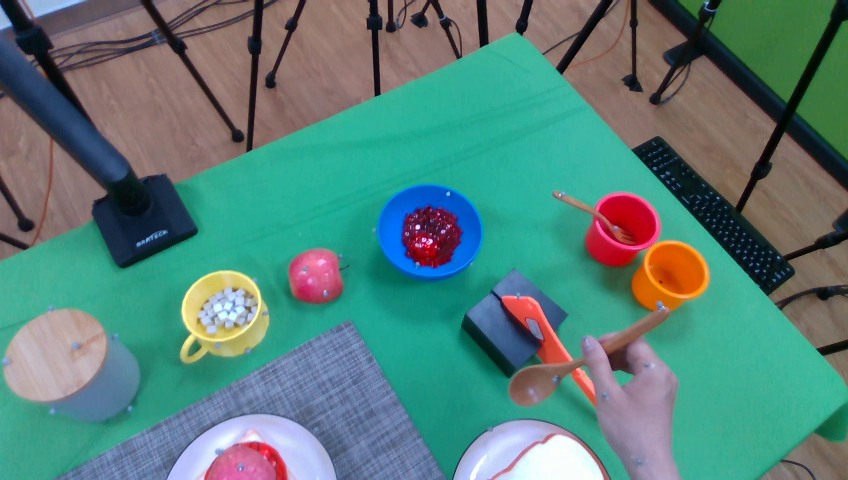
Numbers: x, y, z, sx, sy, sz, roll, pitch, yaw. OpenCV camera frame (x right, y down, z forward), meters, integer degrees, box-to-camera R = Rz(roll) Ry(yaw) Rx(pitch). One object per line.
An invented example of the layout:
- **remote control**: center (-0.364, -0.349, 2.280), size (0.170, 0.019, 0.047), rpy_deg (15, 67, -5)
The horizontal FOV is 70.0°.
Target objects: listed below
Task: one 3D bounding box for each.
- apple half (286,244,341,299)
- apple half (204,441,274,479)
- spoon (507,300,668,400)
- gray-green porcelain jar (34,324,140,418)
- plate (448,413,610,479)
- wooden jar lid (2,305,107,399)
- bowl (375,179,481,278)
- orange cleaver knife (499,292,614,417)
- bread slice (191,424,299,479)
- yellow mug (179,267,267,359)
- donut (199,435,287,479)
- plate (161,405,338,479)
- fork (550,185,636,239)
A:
- **apple half**: center (-0.158, 0.040, 0.856), size (0.075, 0.054, 0.080), rpy_deg (-8, 64, -6)
- **apple half**: center (-0.207, 0.263, 0.669), size (0.081, 0.033, 0.080), rpy_deg (0, 68, 1)
- **spoon**: center (0.158, 0.111, 0.598), size (0.042, 0.194, 0.021), rpy_deg (48, 36, -5)
- **gray-green porcelain jar**: center (-0.414, 0.155, 0.734), size (0.106, 0.127, 0.105), rpy_deg (2, 62, -4)
- **plate**: center (0.128, 0.321, 0.744), size (0.209, 0.038, 0.207), rpy_deg (2, 63, -3)
- **wooden jar lid**: center (-0.410, 0.126, 0.679), size (0.108, 0.021, 0.107), rpy_deg (1, 61, -2)
- **bowl**: center (0.003, -0.004, 0.878), size (0.151, 0.077, 0.150), rpy_deg (2, 63, -4)
- **orange cleaver knife**: center (0.175, 0.151, 0.810), size (0.012, 0.077, 0.211), rpy_deg (-38, 93, -28)
- **bread slice**: center (-0.203, 0.302, 0.723), size (0.133, 0.018, 0.107), rpy_deg (38, 66, 15)
- **yellow mug**: center (-0.275, 0.105, 0.805), size (0.099, 0.064, 0.130), rpy_deg (32, 65, 12)
- **donut**: center (-0.209, 0.277, 0.702), size (0.099, 0.048, 0.098), rpy_deg (2, 63, -4)
- **plate**: center (-0.206, 0.305, 0.720), size (0.208, 0.039, 0.206), rpy_deg (2, 63, -4)
- **fork**: center (0.248, -0.039, 0.876), size (0.209, 0.018, 0.028), rpy_deg (24, 52, -40)
